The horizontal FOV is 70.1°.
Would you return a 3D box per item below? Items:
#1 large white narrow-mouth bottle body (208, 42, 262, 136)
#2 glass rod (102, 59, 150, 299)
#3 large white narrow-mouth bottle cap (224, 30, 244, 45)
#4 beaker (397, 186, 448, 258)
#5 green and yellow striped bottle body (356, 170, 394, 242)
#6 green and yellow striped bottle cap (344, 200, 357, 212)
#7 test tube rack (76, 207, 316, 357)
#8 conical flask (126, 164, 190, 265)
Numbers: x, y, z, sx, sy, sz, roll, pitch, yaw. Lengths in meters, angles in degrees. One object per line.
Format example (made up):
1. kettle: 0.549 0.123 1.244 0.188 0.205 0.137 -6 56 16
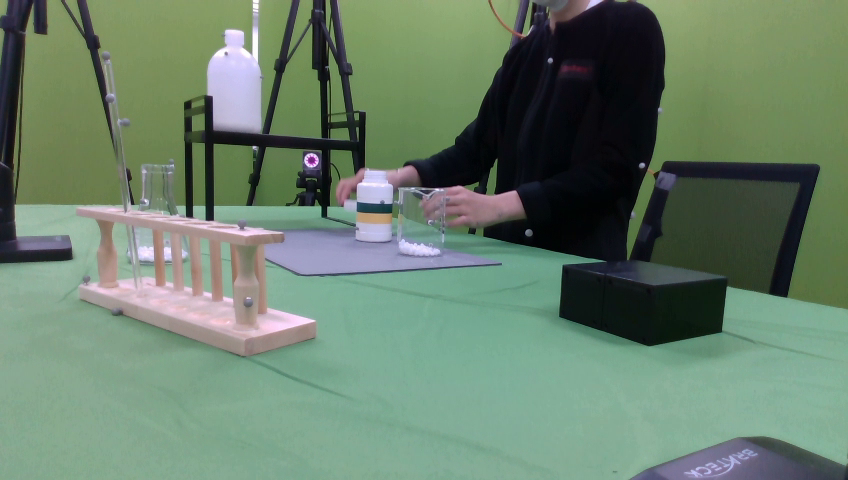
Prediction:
1. large white narrow-mouth bottle body: -0.368 -0.304 1.181 0.102 0.194 0.101 2 9 0
2. glass rod: -0.243 -0.045 0.496 0.008 0.199 0.008 -4 13 1
3. large white narrow-mouth bottle cap: -0.365 -0.389 1.166 0.038 0.024 0.037 2 9 0
4. beaker: -0.002 -0.027 0.890 0.074 0.100 0.084 1 8 -11
5. green and yellow striped bottle body: -0.084 -0.058 1.029 0.063 0.119 0.063 3 7 0
6. green and yellow striped bottle cap: -0.126 -0.063 1.120 0.045 0.020 0.045 2 8 0
7. test tube rack: -0.196 0.023 0.500 0.241 0.085 0.067 8 9 36
8. conical flask: -0.332 -0.033 0.756 0.075 0.122 0.075 2 7 0
